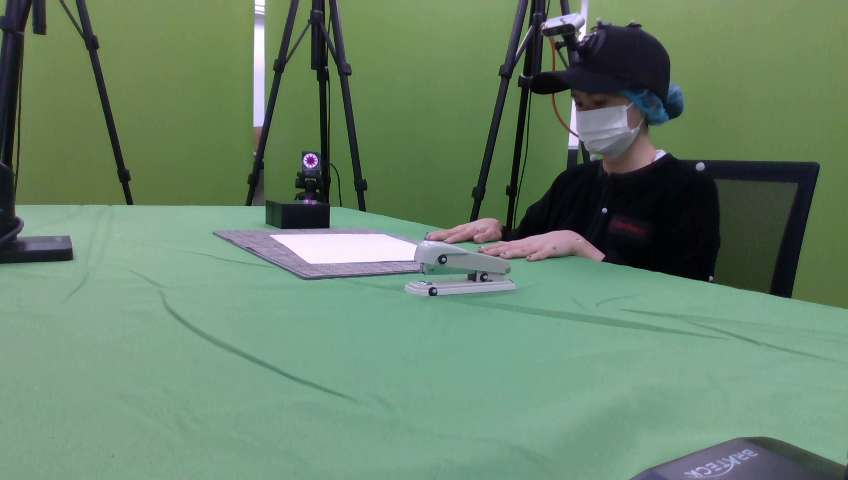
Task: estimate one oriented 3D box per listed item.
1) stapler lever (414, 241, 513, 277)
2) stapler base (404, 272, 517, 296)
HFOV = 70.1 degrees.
[{"bbox_3d":[0.044,0.021,0.667,0.119,0.040,0.026,0,9,-29],"label":"stapler lever"},{"bbox_3d":[0.041,0.045,0.669,0.131,0.024,0.041,1,9,-29],"label":"stapler base"}]
